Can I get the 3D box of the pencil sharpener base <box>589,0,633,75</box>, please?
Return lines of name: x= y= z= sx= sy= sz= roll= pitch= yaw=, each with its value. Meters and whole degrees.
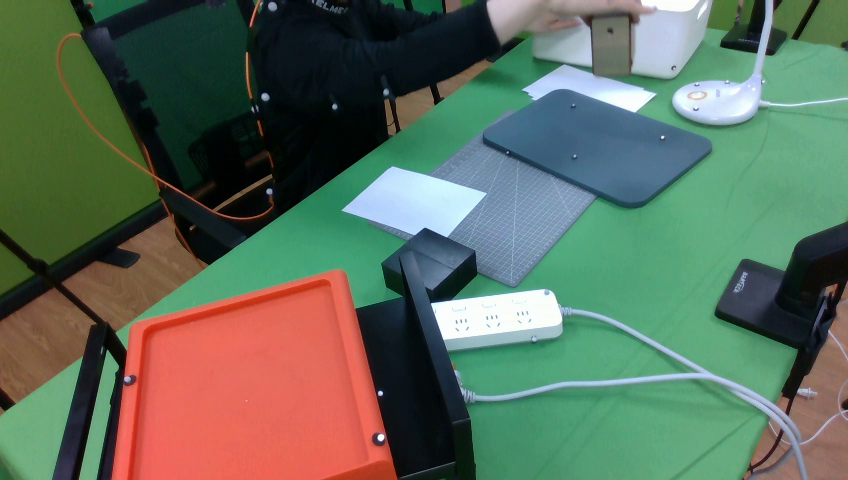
pencil sharpener base: x=0.306 y=-0.334 z=0.980 sx=0.061 sy=0.107 sz=0.076 roll=3 pitch=45 yaw=22

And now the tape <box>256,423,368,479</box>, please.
tape: x=-0.121 y=0.262 z=0.659 sx=0.117 sy=0.053 sz=0.116 roll=-4 pitch=40 yaw=4

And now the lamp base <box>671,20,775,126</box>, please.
lamp base: x=0.582 y=-0.332 z=1.153 sx=0.179 sy=0.181 sz=0.160 roll=2 pitch=42 yaw=7

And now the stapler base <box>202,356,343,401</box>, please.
stapler base: x=-0.142 y=0.124 z=0.557 sx=0.130 sy=0.024 sz=0.041 roll=-2 pitch=43 yaw=3

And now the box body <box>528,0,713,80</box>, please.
box body: x=0.451 y=-0.513 z=1.398 sx=0.361 sy=0.161 sz=0.254 roll=19 pitch=47 yaw=28

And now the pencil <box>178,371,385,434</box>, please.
pencil: x=-0.128 y=0.141 z=0.534 sx=0.194 sy=0.012 sz=0.012 roll=14 pitch=44 yaw=7

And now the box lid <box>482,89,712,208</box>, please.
box lid: x=0.320 y=-0.190 z=1.156 sx=0.264 sy=0.015 sz=0.368 roll=-33 pitch=47 yaw=-28

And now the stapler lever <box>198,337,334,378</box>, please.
stapler lever: x=-0.142 y=0.105 z=0.541 sx=0.118 sy=0.040 sz=0.026 roll=-3 pitch=43 yaw=4

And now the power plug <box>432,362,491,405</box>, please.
power plug: x=0.044 y=0.182 z=0.759 sx=0.073 sy=0.035 sz=0.052 roll=24 pitch=41 yaw=-19

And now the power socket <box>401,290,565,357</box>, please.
power socket: x=0.080 y=0.113 z=0.821 sx=0.227 sy=0.033 sz=0.072 roll=-6 pitch=41 yaw=0

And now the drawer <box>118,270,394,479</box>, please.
drawer: x=-0.141 y=0.139 z=0.509 sx=0.195 sy=0.073 sz=0.210 roll=-14 pitch=42 yaw=-8

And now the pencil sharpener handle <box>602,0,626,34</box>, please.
pencil sharpener handle: x=0.313 y=-0.380 z=1.007 sx=0.036 sy=0.068 sz=0.030 roll=19 pitch=49 yaw=6

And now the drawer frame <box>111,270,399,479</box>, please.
drawer frame: x=-0.140 y=0.140 z=0.506 sx=0.202 sy=0.083 sz=0.212 roll=-15 pitch=41 yaw=-9
